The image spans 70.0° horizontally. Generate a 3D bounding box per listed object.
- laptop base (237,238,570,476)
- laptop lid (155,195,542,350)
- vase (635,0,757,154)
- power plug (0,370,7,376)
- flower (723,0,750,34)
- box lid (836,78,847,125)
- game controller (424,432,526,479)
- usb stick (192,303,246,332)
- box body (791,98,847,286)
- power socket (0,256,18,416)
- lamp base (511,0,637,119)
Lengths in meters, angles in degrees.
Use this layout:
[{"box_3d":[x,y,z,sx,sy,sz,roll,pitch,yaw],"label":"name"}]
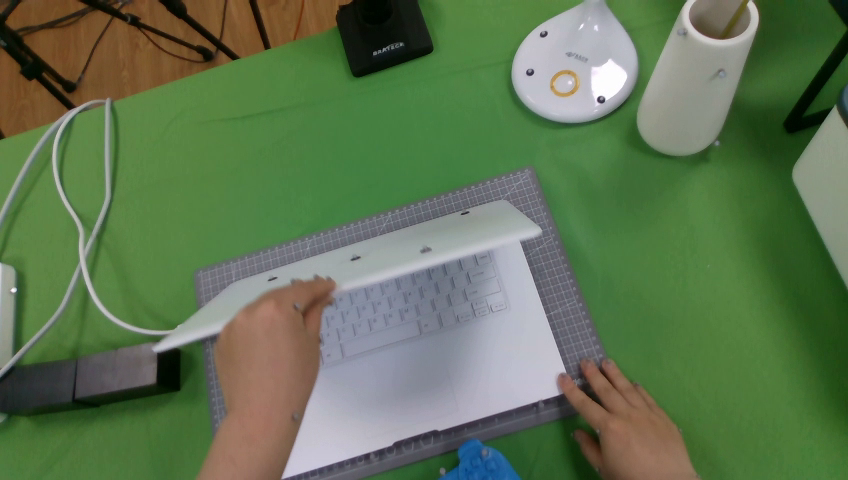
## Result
[{"box_3d":[-0.038,0.105,0.699,0.354,0.023,0.233,-17,71,2],"label":"laptop base"},{"box_3d":[-0.068,0.020,0.622,0.357,0.240,0.013,-17,101,4],"label":"laptop lid"},{"box_3d":[0.291,-0.178,0.658,0.098,0.201,0.097,-4,67,9],"label":"vase"},{"box_3d":[-0.517,0.176,0.718,0.072,0.053,0.035,-3,68,6],"label":"power plug"},{"box_3d":[0.298,-0.213,0.582,0.038,0.364,0.043,-2,58,-9],"label":"flower"},{"box_3d":[0.545,-0.023,0.498,0.263,0.015,0.368,-15,67,2],"label":"box lid"},{"box_3d":[0.028,0.266,0.615,0.155,0.052,0.096,-31,65,-4],"label":"game controller"},{"box_3d":[-0.243,0.091,0.723,0.059,0.027,0.021,-14,67,-2],"label":"usb stick"},{"box_3d":[0.558,0.006,0.566,0.254,0.161,0.361,-16,68,3],"label":"box body"},{"box_3d":[-0.559,0.123,0.766,0.072,0.033,0.225,-15,67,3],"label":"power socket"},{"box_3d":[0.185,-0.266,0.719,0.160,0.182,0.178,15,70,14],"label":"lamp base"}]
